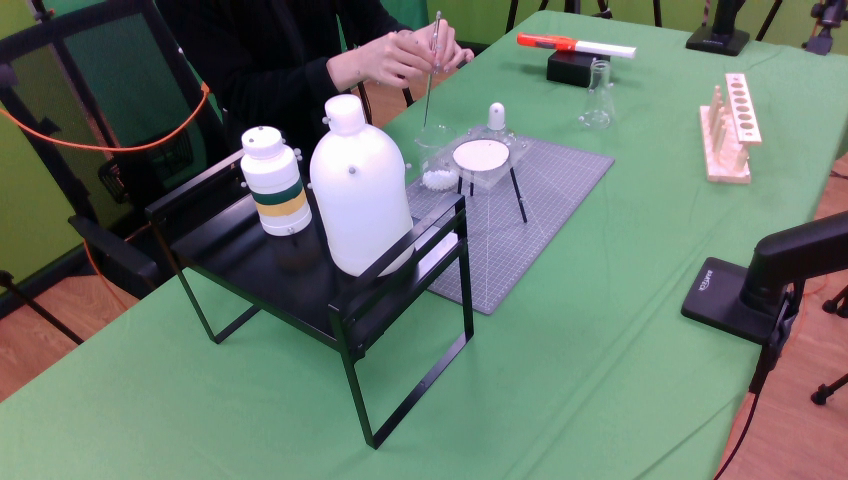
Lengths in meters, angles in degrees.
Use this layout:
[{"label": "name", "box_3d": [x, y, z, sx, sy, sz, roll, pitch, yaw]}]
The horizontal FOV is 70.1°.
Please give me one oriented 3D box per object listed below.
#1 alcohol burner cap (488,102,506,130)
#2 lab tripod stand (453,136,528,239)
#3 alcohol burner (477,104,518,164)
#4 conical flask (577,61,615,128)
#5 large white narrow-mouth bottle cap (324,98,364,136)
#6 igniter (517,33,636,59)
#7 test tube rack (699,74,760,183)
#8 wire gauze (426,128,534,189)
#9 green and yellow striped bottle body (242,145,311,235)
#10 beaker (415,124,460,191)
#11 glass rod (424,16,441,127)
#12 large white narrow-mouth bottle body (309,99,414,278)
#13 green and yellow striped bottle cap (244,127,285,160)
[{"label": "alcohol burner cap", "box_3d": [0.133, -0.227, 1.092, 0.034, 0.048, 0.033, -1, 47, 2]}, {"label": "lab tripod stand", "box_3d": [0.094, -0.086, 0.974, 0.148, 0.132, 0.147, -4, 43, 4]}, {"label": "alcohol burner", "box_3d": [0.135, -0.200, 1.117, 0.078, 0.119, 0.077, -4, 43, 4]}, {"label": "conical flask", "box_3d": [0.343, -0.288, 1.188, 0.075, 0.122, 0.075, -4, 41, 4]}, {"label": "large white narrow-mouth bottle cap", "box_3d": [-0.077, -0.120, 0.586, 0.038, 0.024, 0.037, -3, 42, 4]}, {"label": "igniter", "box_3d": [0.336, -0.441, 1.369, 0.275, 0.025, 0.057, 16, 41, 23]}, {"label": "test tube rack", "box_3d": [0.547, -0.208, 1.095, 0.066, 0.085, 0.242, 6, 42, 16]}, {"label": "wire gauze", "box_3d": [0.086, -0.131, 0.924, 0.124, 0.011, 0.122, 26, 52, 33]}, {"label": "green and yellow striped bottle body", "box_3d": [-0.179, -0.069, 0.730, 0.063, 0.120, 0.063, -4, 41, 4]}, {"label": "beaker", "box_3d": [0.027, -0.147, 1.081, 0.073, 0.100, 0.084, 12, 44, 21]}, {"label": "glass rod", "box_3d": [0.012, -0.266, 0.980, 0.008, 0.200, 0.008, 4, 45, -4]}, {"label": "large white narrow-mouth bottle body", "box_3d": [-0.068, -0.057, 0.644, 0.102, 0.195, 0.101, -4, 42, 4]}, {"label": "green and yellow striped bottle cap", "box_3d": [-0.183, -0.111, 0.694, 0.045, 0.020, 0.045, -1, 42, 2]}]
